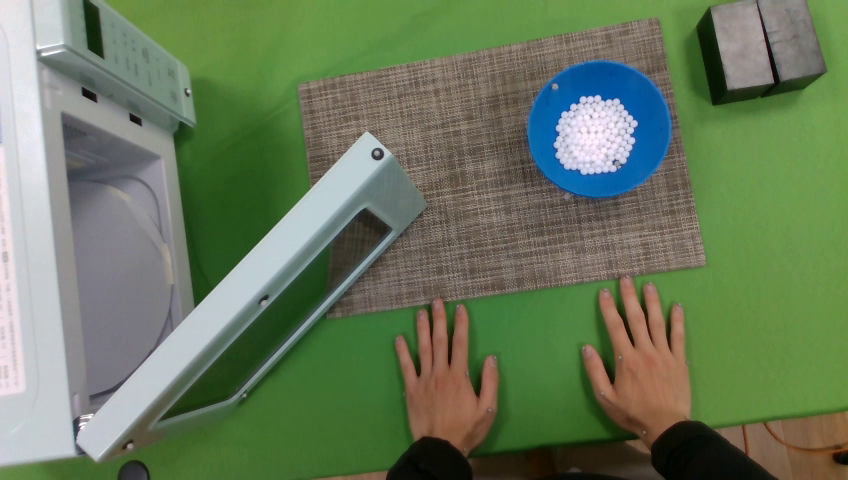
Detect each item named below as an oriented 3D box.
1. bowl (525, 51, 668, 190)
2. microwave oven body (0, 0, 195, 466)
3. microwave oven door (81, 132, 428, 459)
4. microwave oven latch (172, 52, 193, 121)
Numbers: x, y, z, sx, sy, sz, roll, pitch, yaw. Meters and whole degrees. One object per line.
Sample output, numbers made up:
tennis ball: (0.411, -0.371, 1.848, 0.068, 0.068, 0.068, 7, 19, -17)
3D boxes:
bowl: (0.188, -0.125, 0.683, 0.151, 0.077, 0.151, -1, 85, 7)
microwave oven body: (-0.437, 0.000, 0.656, 0.326, 0.261, 0.440, -11, 84, 5)
microwave oven door: (-0.143, 0.056, 0.611, 0.039, 0.244, 0.356, 43, 91, 10)
microwave oven latch: (-0.310, -0.190, 0.754, 0.030, 0.029, 0.079, -10, 85, 5)
